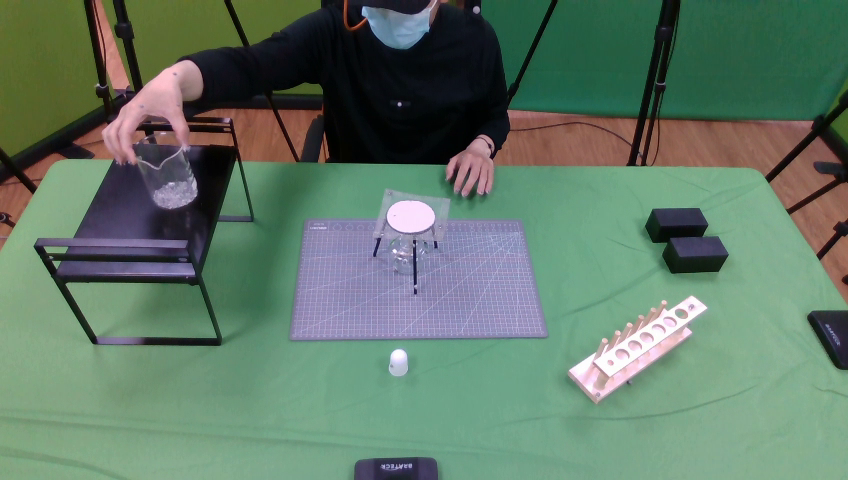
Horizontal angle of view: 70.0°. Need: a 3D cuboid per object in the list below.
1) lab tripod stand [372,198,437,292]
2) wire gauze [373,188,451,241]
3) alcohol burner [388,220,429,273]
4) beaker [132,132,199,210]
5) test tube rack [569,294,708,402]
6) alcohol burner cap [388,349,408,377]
[{"bbox_3d":[-0.025,-0.002,1.112,0.148,0.132,0.147,2,44,-2],"label":"lab tripod stand"},{"bbox_3d":[-0.019,-0.045,1.060,0.121,0.011,0.124,8,45,3],"label":"wire gauze"},{"bbox_3d":[-0.028,0.006,1.118,0.078,0.119,0.077,2,48,-2],"label":"alcohol burner"},{"bbox_3d":[-0.392,-0.102,0.928,0.074,0.101,0.083,-11,47,-10],"label":"beaker"},{"bbox_3d":[0.360,0.167,1.014,0.242,0.085,0.066,-25,53,-25],"label":"test tube rack"},{"bbox_3d":[-0.042,0.197,0.989,0.034,0.048,0.033,2,46,-2],"label":"alcohol burner cap"}]
